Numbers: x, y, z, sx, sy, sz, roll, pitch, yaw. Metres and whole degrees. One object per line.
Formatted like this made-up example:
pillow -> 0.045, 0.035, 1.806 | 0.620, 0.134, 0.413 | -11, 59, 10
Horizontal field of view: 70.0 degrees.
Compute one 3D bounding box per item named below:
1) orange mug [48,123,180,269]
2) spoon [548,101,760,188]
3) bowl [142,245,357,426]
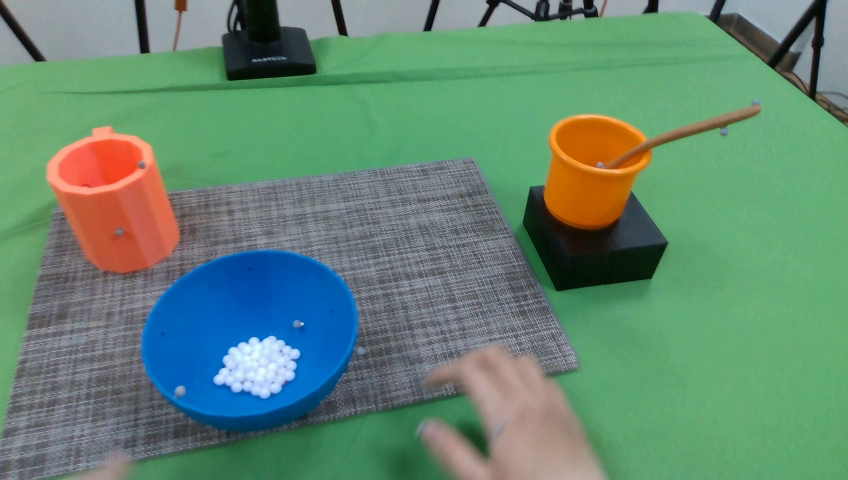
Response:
orange mug -> -0.287, -0.049, 0.568 | 0.084, 0.101, 0.125 | -14, 52, -18
spoon -> 0.194, -0.083, 0.538 | 0.022, 0.193, 0.041 | 53, 46, -14
bowl -> -0.125, 0.083, 0.463 | 0.151, 0.077, 0.150 | 3, 45, -2
